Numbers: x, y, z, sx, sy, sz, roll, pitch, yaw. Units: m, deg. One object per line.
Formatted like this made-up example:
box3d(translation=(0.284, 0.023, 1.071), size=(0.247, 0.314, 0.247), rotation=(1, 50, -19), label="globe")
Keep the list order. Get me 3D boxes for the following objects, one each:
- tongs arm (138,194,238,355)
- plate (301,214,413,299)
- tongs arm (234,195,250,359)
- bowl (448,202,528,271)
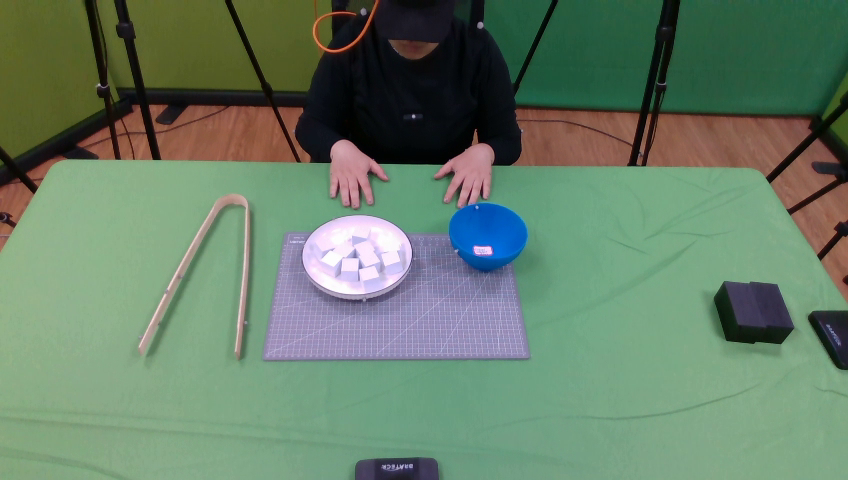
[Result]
box3d(translation=(-0.421, 0.047, 1.111), size=(0.051, 0.026, 0.382), rotation=(6, 45, 0), label="tongs arm")
box3d(translation=(-0.124, 0.033, 1.143), size=(0.208, 0.039, 0.206), rotation=(2, 46, -2), label="plate")
box3d(translation=(-0.339, 0.052, 1.118), size=(0.028, 0.028, 0.385), rotation=(-7, 47, -7), label="tongs arm")
box3d(translation=(0.118, 0.006, 1.160), size=(0.151, 0.077, 0.150), rotation=(2, 46, -2), label="bowl")
